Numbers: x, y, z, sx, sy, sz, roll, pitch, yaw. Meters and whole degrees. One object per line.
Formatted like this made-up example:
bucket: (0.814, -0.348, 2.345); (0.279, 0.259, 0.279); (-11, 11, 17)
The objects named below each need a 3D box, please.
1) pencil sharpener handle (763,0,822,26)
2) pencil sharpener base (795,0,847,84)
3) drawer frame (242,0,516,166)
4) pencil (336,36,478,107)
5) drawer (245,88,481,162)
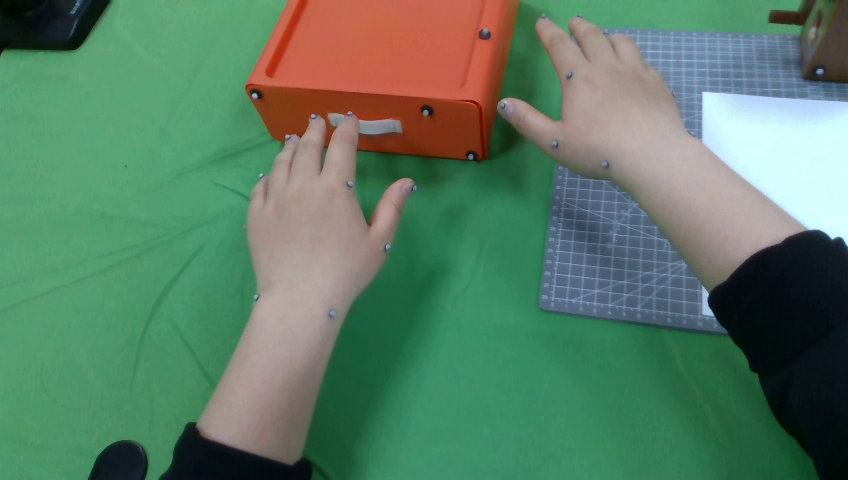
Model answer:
pencil sharpener handle: (0.296, -0.196, 0.480); (0.030, 0.068, 0.036); (8, 69, 15)
pencil sharpener base: (0.346, -0.181, 0.478); (0.076, 0.108, 0.061); (8, 61, 14)
drawer frame: (-0.029, -0.181, 0.553); (0.201, 0.083, 0.212); (6, 60, 13)
pencil: (-0.023, -0.166, 0.580); (0.192, 0.012, 0.012); (34, 70, 31)
drawer: (-0.029, -0.178, 0.554); (0.194, 0.074, 0.210); (7, 59, 13)
